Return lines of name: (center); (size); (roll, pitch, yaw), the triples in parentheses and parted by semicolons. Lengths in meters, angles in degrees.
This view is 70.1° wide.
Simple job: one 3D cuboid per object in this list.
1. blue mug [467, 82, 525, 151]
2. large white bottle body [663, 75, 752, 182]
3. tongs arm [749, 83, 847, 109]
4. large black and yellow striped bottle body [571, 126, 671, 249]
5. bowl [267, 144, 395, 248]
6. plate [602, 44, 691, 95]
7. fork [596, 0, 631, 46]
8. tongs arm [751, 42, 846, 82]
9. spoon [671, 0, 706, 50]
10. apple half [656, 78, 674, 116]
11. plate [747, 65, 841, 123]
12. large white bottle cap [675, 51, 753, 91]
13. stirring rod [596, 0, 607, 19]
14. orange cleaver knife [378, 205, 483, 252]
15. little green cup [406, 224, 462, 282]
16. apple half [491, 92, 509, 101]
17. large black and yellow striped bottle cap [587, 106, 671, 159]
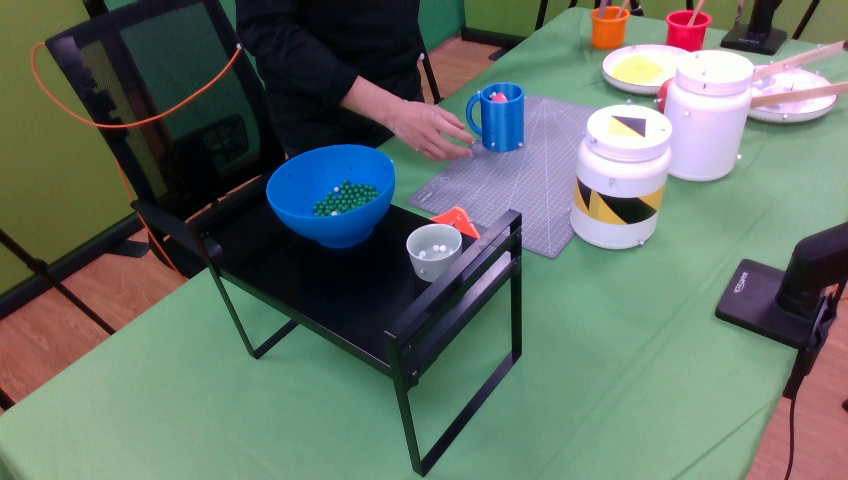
blue mug: (0.138, -0.241, 1.169); (0.116, 0.106, 0.082); (11, 44, 21)
large white bottle body: (0.472, -0.207, 1.022); (0.130, 0.185, 0.130); (-4, 41, 4)
tongs arm: (0.734, -0.280, 1.133); (0.388, 0.028, 0.028); (-9, 47, -5)
large black and yellow striped bottle body: (0.296, -0.093, 0.915); (0.131, 0.185, 0.130); (-3, 42, 3)
bowl: (-0.104, -0.043, 0.726); (0.151, 0.077, 0.150); (-4, 40, 4)
plate: (0.494, -0.367, 1.317); (0.209, 0.038, 0.208); (-4, 40, 4)
fork: (0.481, -0.555, 1.452); (0.028, 0.019, 0.207); (41, 104, 39)
tongs arm: (0.708, -0.331, 1.193); (0.386, 0.026, 0.050); (-18, 45, -16)
spoon: (0.629, -0.520, 1.394); (0.041, 0.022, 0.193); (30, 97, 34)
apple half: (0.488, -0.281, 1.192); (0.053, 0.075, 0.081); (24, 54, 37)
plate: (0.695, -0.282, 1.189); (0.207, 0.039, 0.206); (-4, 40, 4)
large white bottle cap: (0.463, -0.271, 0.967); (0.115, 0.018, 0.114); (-4, 40, 4)
stirring rod: (0.432, -0.606, 1.406); (0.014, 0.176, 0.006); (15, 20, 11)
orange cleaver knife: (0.005, -0.010, 0.944); (0.210, 0.077, 0.012); (-5, 23, 47)
little green cup: (0.013, 0.015, 0.668); (0.061, 0.039, 0.061); (-4, 40, 4)
apple half: (0.141, -0.239, 1.158); (0.033, 0.081, 0.080); (-13, 40, -17)
large black and yellow striped bottle cap: (0.290, -0.154, 0.858); (0.115, 0.019, 0.114); (-4, 42, 4)
